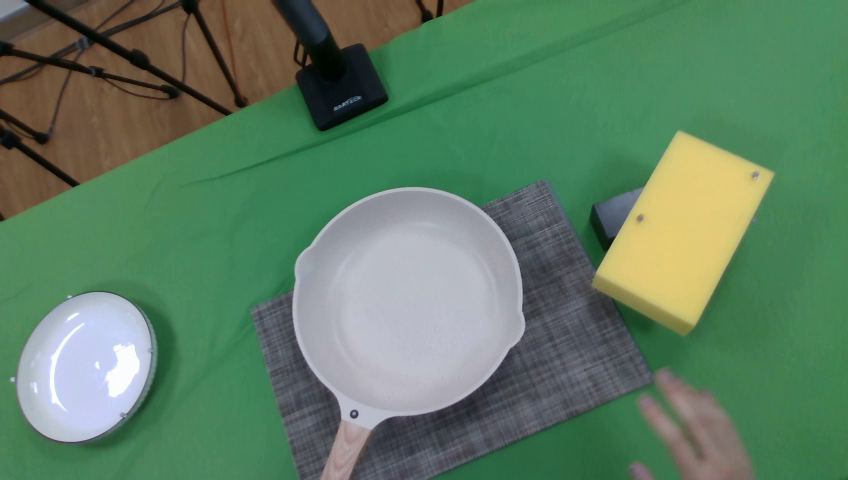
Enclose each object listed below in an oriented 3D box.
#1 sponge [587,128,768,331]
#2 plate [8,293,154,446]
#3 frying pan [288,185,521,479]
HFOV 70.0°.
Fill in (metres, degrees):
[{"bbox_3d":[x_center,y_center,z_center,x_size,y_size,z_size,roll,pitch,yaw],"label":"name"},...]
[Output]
[{"bbox_3d":[0.294,-0.014,0.710,0.117,0.061,0.206,28,78,18],"label":"sponge"},{"bbox_3d":[-0.469,0.178,0.842,0.207,0.039,0.206,-3,71,8],"label":"plate"},{"bbox_3d":[-0.062,0.162,0.738,0.305,0.103,0.485,16,67,16],"label":"frying pan"}]
